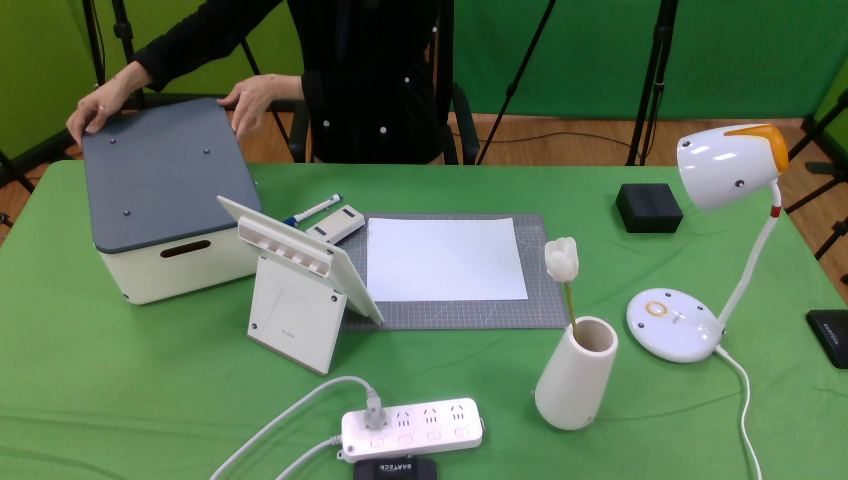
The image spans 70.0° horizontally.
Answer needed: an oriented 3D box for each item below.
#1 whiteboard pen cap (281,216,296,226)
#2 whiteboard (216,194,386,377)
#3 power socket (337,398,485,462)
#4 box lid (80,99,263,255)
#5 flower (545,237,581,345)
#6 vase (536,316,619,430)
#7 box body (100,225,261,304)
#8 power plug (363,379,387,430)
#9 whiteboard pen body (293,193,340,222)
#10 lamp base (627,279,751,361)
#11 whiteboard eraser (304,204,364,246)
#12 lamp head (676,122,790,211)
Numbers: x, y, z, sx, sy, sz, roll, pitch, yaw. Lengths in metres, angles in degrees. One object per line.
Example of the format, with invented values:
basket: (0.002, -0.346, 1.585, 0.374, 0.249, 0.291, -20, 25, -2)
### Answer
whiteboard pen cap: (-0.273, -0.034, 1.213, 0.033, 0.018, 0.018, -32, 56, -31)
whiteboard: (-0.212, 0.093, 0.939, 0.216, 0.307, 0.143, 24, 70, 17)
power socket: (-0.018, 0.285, 0.914, 0.227, 0.033, 0.071, -4, 46, -8)
box lid: (-0.456, -0.128, 1.075, 0.264, 0.015, 0.369, -16, 50, -20)
flower: (0.213, 0.137, 0.846, 0.038, 0.364, 0.044, 21, 55, 40)
vase: (0.229, 0.200, 0.901, 0.098, 0.201, 0.097, 3, 46, -3)
box body: (-0.466, -0.077, 1.137, 0.254, 0.161, 0.361, -16, 50, -18)
power plug: (-0.071, 0.252, 0.911, 0.035, 0.053, 0.072, 3, 40, 0)
whiteboard pen body: (-0.231, -0.062, 1.243, 0.141, 0.017, 0.017, -32, 56, -30)
lamp base: (0.460, 0.100, 1.027, 0.178, 0.181, 0.160, 27, 51, 17)
whiteboard eraser: (-0.175, -0.022, 1.188, 0.055, 0.042, 0.112, 36, 53, 26)
lamp head: (0.423, -0.104, 0.819, 0.122, 0.113, 0.112, -13, 33, 40)
